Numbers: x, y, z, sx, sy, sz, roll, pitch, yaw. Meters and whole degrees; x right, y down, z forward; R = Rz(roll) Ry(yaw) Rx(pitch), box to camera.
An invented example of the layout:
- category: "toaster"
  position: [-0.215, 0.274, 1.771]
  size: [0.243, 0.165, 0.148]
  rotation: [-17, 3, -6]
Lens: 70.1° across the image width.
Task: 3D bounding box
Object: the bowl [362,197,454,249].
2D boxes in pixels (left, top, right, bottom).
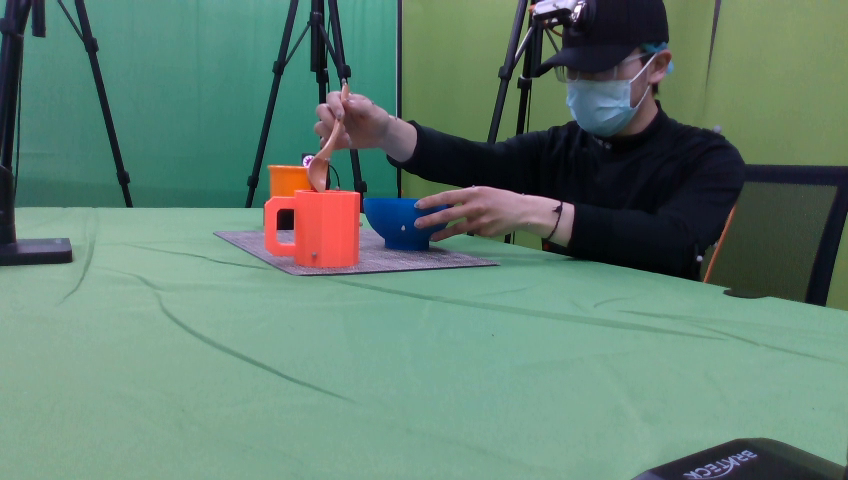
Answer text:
- category: "bowl"
  position: [-0.028, -0.028, 0.988]
  size: [0.151, 0.077, 0.151]
  rotation: [2, 7, 0]

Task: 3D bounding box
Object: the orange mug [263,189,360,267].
- category: "orange mug"
  position: [-0.147, -0.019, 0.794]
  size: [0.127, 0.100, 0.083]
  rotation: [5, 6, -19]

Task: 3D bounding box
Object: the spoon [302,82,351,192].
- category: "spoon"
  position: [-0.127, -0.145, 0.837]
  size: [0.042, 0.193, 0.021]
  rotation: [32, -30, -31]
